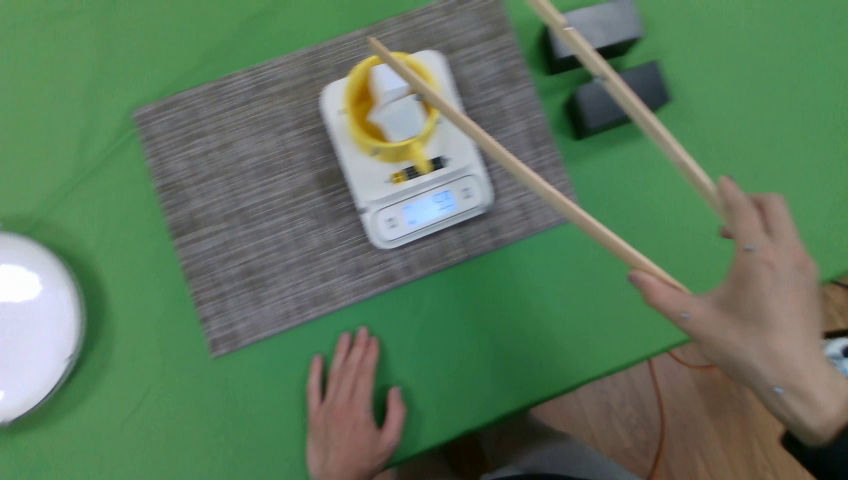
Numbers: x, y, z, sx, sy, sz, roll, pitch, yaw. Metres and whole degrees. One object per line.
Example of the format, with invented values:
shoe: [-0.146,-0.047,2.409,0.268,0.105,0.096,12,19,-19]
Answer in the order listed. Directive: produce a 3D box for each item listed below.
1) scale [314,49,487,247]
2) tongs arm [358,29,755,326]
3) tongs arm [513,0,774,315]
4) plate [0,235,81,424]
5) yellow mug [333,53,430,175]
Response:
scale: [-0.027,-0.106,0.693,0.149,0.031,0.200,-22,86,-4]
tongs arm: [0.084,-0.058,0.482,0.385,0.028,0.028,41,77,16]
tongs arm: [0.140,-0.104,0.488,0.051,0.027,0.382,-36,73,-6]
plate: [-0.475,0.097,0.657,0.208,0.039,0.207,0,84,-3]
yellow mug: [-0.036,-0.127,0.647,0.100,0.064,0.130,-32,88,-6]
